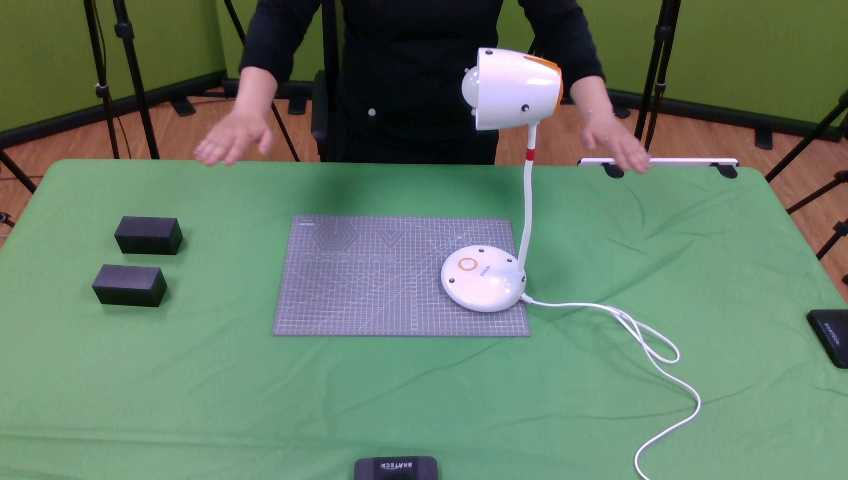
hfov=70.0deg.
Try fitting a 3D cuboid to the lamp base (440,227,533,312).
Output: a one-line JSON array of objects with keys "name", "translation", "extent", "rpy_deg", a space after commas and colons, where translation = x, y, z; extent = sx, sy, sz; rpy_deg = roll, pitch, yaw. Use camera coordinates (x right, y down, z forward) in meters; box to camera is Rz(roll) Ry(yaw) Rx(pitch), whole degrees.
[{"name": "lamp base", "translation": [0.126, 0.021, 1.073], "extent": [0.179, 0.181, 0.160], "rpy_deg": [22, 49, 13]}]

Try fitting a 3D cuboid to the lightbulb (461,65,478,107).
[{"name": "lightbulb", "translation": [0.106, -0.214, 0.850], "extent": [0.108, 0.060, 0.059], "rpy_deg": [4, 45, -2]}]

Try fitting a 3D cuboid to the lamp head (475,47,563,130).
[{"name": "lamp head", "translation": [0.129, -0.206, 0.840], "extent": [0.123, 0.113, 0.112], "rpy_deg": [5, 45, -1]}]
